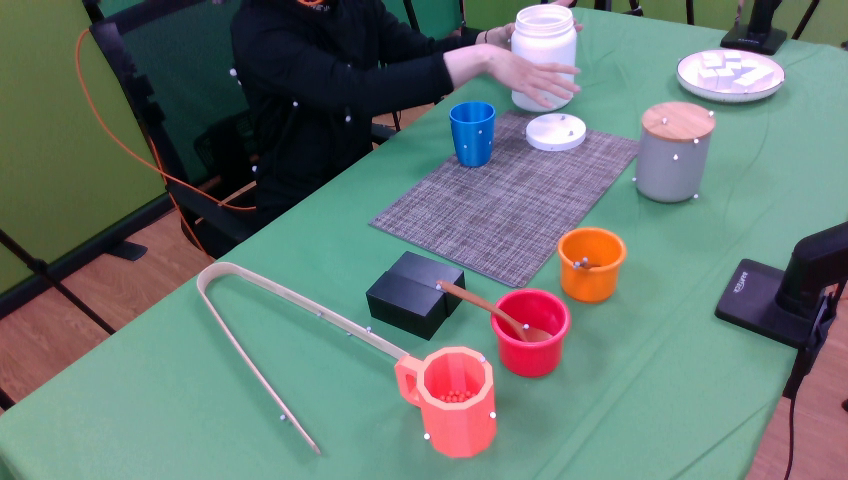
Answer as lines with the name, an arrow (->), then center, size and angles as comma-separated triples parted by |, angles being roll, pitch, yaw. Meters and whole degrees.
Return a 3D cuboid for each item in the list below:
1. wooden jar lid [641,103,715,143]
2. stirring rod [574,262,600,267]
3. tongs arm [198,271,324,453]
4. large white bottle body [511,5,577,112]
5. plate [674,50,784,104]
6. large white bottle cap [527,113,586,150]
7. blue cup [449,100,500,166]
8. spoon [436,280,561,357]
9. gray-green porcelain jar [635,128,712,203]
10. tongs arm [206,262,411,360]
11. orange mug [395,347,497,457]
wooden jar lid -> 0.398, -0.180, 0.952 | 0.108, 0.021, 0.108 | -4, 43, 4
stirring rod -> 0.222, 0.033, 0.816 | 0.014, 0.006, 0.177 | 7, 1, 22
tongs arm -> -0.236, 0.154, 0.831 | 0.028, 0.028, 0.384 | -37, 48, -18
large white bottle body -> 0.247, -0.376, 1.252 | 0.130, 0.185, 0.130 | -4, 41, 4
plate -> 0.631, -0.336, 1.262 | 0.207, 0.039, 0.206 | -4, 41, 4
large white bottle cap -> 0.259, -0.213, 1.183 | 0.115, 0.018, 0.114 | -4, 41, 4
blue cup -> 0.092, -0.195, 1.123 | 0.092, 0.100, 0.092 | -3, 40, 3
spoon -> 0.096, 0.095, 0.757 | 0.195, 0.021, 0.041 | 34, 40, -20
gray-green porcelain jar -> 0.405, -0.133, 0.992 | 0.106, 0.127, 0.105 | -4, 40, 4
tongs arm -> -0.179, 0.106, 0.870 | 0.381, 0.027, 0.051 | 23, 55, 32
orange mug -> 0.024, 0.181, 0.703 | 0.125, 0.101, 0.083 | 21, 48, 23
